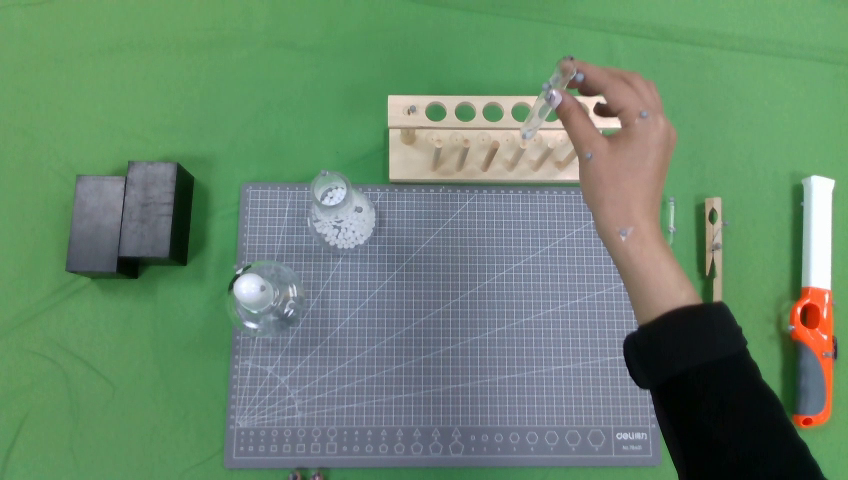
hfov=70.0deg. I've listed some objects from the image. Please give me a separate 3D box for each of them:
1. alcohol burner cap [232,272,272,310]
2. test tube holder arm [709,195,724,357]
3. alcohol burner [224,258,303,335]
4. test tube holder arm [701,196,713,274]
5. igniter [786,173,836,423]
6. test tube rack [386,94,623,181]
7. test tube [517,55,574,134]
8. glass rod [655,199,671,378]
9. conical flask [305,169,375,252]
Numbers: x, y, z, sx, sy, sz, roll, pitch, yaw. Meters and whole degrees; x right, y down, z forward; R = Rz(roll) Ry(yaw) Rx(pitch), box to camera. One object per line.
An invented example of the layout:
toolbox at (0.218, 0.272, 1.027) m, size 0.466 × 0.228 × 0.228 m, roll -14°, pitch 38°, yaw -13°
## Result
alcohol burner cap at (-0.160, 0.045, 0.558) m, size 0.034 × 0.048 × 0.033 m, roll 2°, pitch 75°, yaw -6°
test tube holder arm at (0.321, 0.039, 0.667) m, size 0.013 × 0.015 × 0.177 m, roll -6°, pitch 77°, yaw 33°
alcohol burner at (-0.161, 0.053, 0.593) m, size 0.078 × 0.119 × 0.077 m, roll 0°, pitch 78°, yaw 0°
test tube holder arm at (0.318, -0.005, 0.679) m, size 0.010 × 0.015 × 0.087 m, roll -4°, pitch 78°, yaw 33°
igniter at (0.426, 0.061, 0.665) m, size 0.057 × 0.025 × 0.275 m, roll 10°, pitch 79°, yaw -10°
test tube rack at (0.081, -0.107, 0.652) m, size 0.242 × 0.085 × 0.066 m, roll 0°, pitch 79°, yaw -3°
test tube at (0.098, -0.117, 0.508) m, size 0.017 × 0.150 × 0.017 m, roll 0°, pitch 82°, yaw -2°
glass rod at (0.264, 0.051, 0.668) m, size 0.008 × 0.008 × 0.199 m, roll 7°, pitch 81°, yaw -1°
conical flask at (-0.089, -0.035, 0.608) m, size 0.075 × 0.122 × 0.075 m, roll 1°, pitch 79°, yaw -2°
